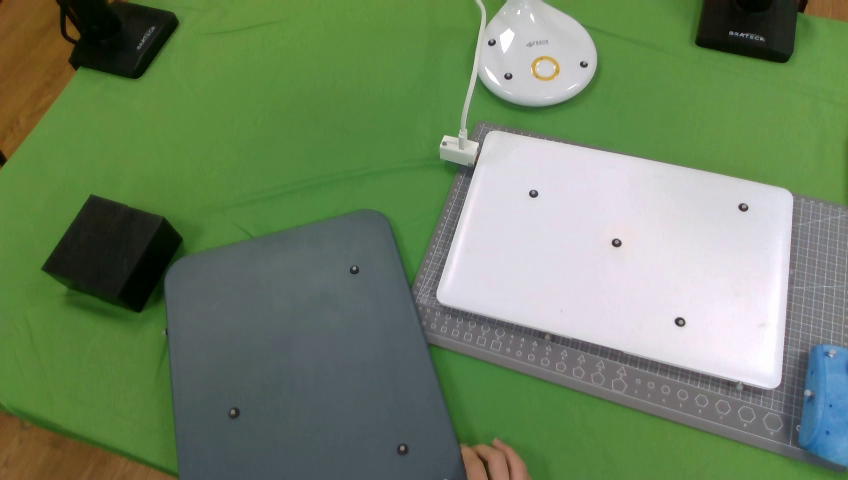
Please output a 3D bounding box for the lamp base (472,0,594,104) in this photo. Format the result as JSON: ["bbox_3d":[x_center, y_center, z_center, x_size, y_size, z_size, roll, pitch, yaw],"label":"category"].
[{"bbox_3d":[0.134,-0.290,0.740,0.161,0.182,0.177,-20,60,-7],"label":"lamp base"}]

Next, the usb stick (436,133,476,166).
[{"bbox_3d":[0.045,-0.107,0.728,0.059,0.027,0.021,18,60,9],"label":"usb stick"}]

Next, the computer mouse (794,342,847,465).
[{"bbox_3d":[0.394,0.152,0.574,0.062,0.041,0.116,18,62,14],"label":"computer mouse"}]

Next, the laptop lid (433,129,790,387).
[{"bbox_3d":[0.207,0.004,0.662,0.355,0.013,0.240,15,67,11],"label":"laptop lid"}]

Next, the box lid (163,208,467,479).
[{"bbox_3d":[-0.125,0.137,0.620,0.263,0.015,0.367,-15,60,-6],"label":"box lid"}]

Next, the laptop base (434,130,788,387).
[{"bbox_3d":[0.209,0.008,0.674,0.353,0.023,0.234,13,68,10],"label":"laptop base"}]
